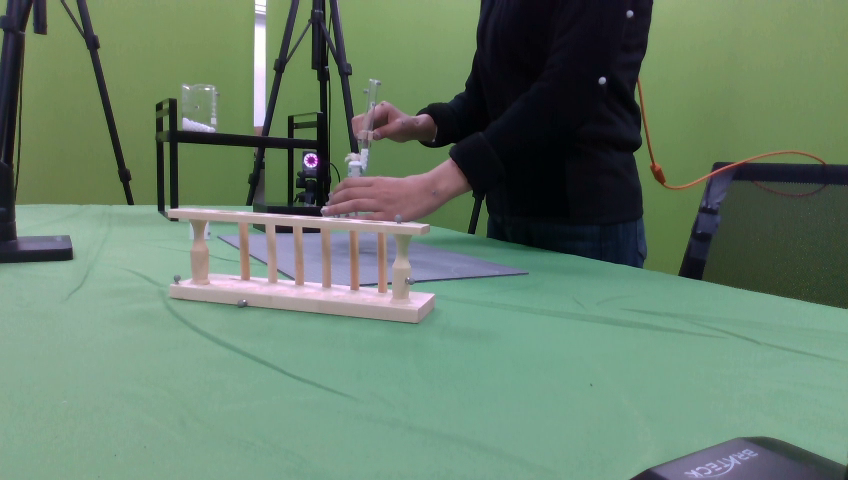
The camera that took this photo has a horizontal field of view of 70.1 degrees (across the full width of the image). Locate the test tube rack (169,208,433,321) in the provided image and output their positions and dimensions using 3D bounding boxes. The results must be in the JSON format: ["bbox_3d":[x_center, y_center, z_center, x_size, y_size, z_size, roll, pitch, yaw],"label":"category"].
[{"bbox_3d":[-0.115,0.017,0.574,0.242,0.085,0.067,4,8,13],"label":"test tube rack"}]

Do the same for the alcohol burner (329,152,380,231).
[{"bbox_3d":[-0.106,-0.074,0.920,0.078,0.119,0.078,0,12,0],"label":"alcohol burner"}]

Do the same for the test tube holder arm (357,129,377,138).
[{"bbox_3d":[-0.098,-0.185,1.056,0.013,0.015,0.178,14,10,-1],"label":"test tube holder arm"}]

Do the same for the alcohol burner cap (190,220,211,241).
[{"bbox_3d":[-0.365,-0.023,0.988,0.034,0.048,0.034,2,7,0],"label":"alcohol burner cap"}]

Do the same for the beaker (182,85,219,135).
[{"bbox_3d":[-0.479,-0.276,1.291,0.074,0.100,0.084,2,8,-1],"label":"beaker"}]

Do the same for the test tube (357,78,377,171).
[{"bbox_3d":[-0.093,-0.188,0.987,0.017,0.150,0.017,8,9,-1],"label":"test tube"}]

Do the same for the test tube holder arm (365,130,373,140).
[{"bbox_3d":[-0.092,-0.176,1.012,0.010,0.015,0.087,13,10,-7],"label":"test tube holder arm"}]
